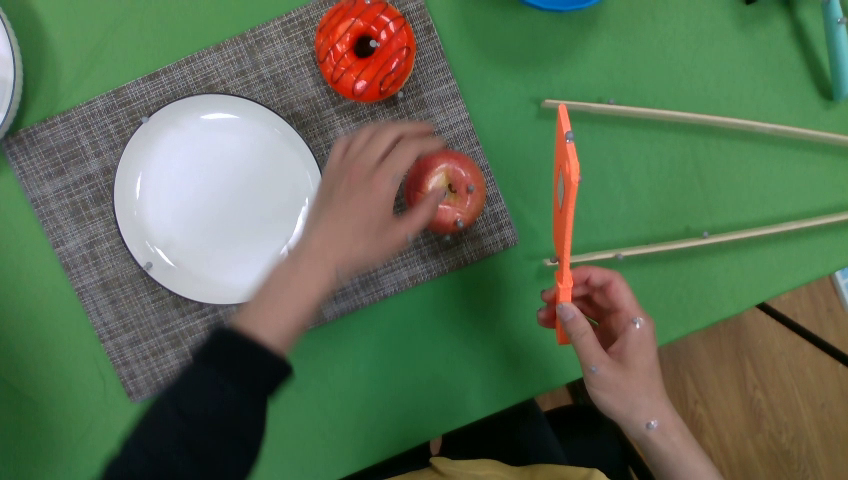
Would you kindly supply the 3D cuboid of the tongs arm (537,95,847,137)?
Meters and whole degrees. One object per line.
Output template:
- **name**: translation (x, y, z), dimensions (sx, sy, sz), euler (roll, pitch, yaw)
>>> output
- **tongs arm**: translation (0.306, -0.115, 0.610), dimensions (0.388, 0.028, 0.028), euler (7, 89, -1)

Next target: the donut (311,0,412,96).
- **donut**: translation (-0.060, -0.189, 0.585), dimensions (0.099, 0.048, 0.099), euler (0, 99, 1)

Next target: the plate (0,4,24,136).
- **plate**: translation (-0.491, -0.172, 0.589), dimensions (0.208, 0.039, 0.208), euler (0, 97, 0)

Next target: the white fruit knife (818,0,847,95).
- **white fruit knife**: translation (0.378, -0.232, 0.569), dimensions (0.016, 0.027, 0.209), euler (-25, 111, 3)

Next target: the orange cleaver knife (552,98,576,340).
- **orange cleaver knife**: translation (0.109, -0.007, 0.482), dimensions (0.012, 0.076, 0.213), euler (-3, 131, 6)

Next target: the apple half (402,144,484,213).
- **apple half**: translation (0.024, -0.065, 0.588), dimensions (0.081, 0.074, 0.053), euler (22, 94, 1)

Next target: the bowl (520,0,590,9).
- **bowl**: translation (0.119, -0.285, 0.561), dimensions (0.151, 0.076, 0.151), euler (0, 98, -1)

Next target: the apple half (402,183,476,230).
- **apple half**: translation (0.010, -0.028, 0.591), dimensions (0.081, 0.081, 0.033), euler (23, 92, -3)

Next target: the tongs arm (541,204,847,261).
- **tongs arm**: translation (0.309, -0.028, 0.617), dimensions (0.385, 0.026, 0.051), euler (-8, 93, 1)

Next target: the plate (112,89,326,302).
- **plate**: translation (-0.200, -0.044, 0.606), dimensions (0.209, 0.038, 0.209), euler (0, 98, 0)
